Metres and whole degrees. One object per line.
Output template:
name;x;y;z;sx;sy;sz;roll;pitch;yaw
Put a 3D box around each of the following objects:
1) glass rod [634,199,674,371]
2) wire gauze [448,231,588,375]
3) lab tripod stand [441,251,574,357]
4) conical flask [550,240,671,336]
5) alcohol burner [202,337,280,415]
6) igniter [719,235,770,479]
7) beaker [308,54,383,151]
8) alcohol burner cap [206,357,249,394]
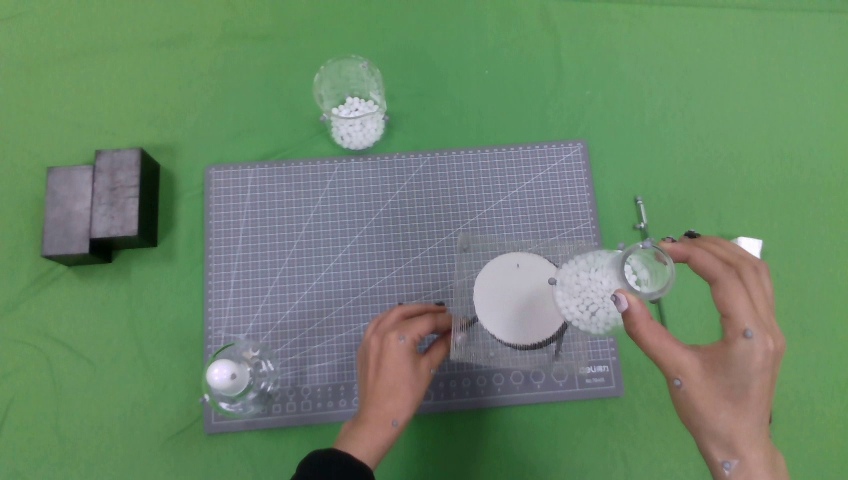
glass rod;0.259;0.048;0.687;0.008;0.008;0.198;-6;76;-3
wire gauze;0.086;0.054;0.545;0.125;0.011;0.121;5;79;1
lab tripod stand;0.087;0.072;0.610;0.148;0.132;0.147;0;78;0
conical flask;0.143;0.031;0.453;0.075;0.122;0.075;0;79;-1
alcohol burner;-0.186;0.134;0.598;0.078;0.119;0.077;0;78;0
igniter;0.348;0.130;0.660;0.057;0.025;0.275;9;76;-10
beaker;-0.081;-0.148;0.678;0.084;0.100;0.074;31;78;5
alcohol burner cap;-0.185;0.124;0.564;0.034;0.048;0.033;1;70;-3
